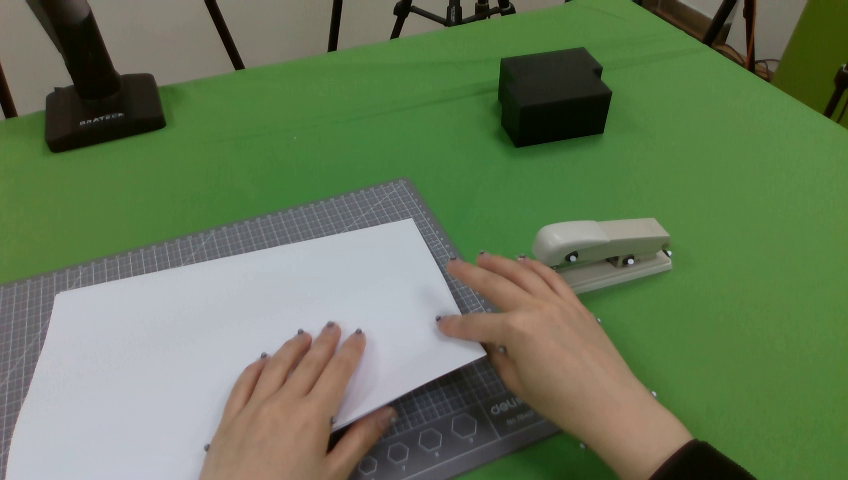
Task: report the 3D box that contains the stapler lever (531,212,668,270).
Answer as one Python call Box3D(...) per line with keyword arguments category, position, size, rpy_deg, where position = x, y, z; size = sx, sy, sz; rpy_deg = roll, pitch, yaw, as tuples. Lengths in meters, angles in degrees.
Box3D(category="stapler lever", position=(0.142, -0.005, 0.485), size=(0.118, 0.040, 0.026), rpy_deg=(-14, 48, -14))

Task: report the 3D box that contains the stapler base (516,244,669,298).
Box3D(category="stapler base", position=(0.141, 0.013, 0.502), size=(0.131, 0.024, 0.041), rpy_deg=(-13, 48, -15))
